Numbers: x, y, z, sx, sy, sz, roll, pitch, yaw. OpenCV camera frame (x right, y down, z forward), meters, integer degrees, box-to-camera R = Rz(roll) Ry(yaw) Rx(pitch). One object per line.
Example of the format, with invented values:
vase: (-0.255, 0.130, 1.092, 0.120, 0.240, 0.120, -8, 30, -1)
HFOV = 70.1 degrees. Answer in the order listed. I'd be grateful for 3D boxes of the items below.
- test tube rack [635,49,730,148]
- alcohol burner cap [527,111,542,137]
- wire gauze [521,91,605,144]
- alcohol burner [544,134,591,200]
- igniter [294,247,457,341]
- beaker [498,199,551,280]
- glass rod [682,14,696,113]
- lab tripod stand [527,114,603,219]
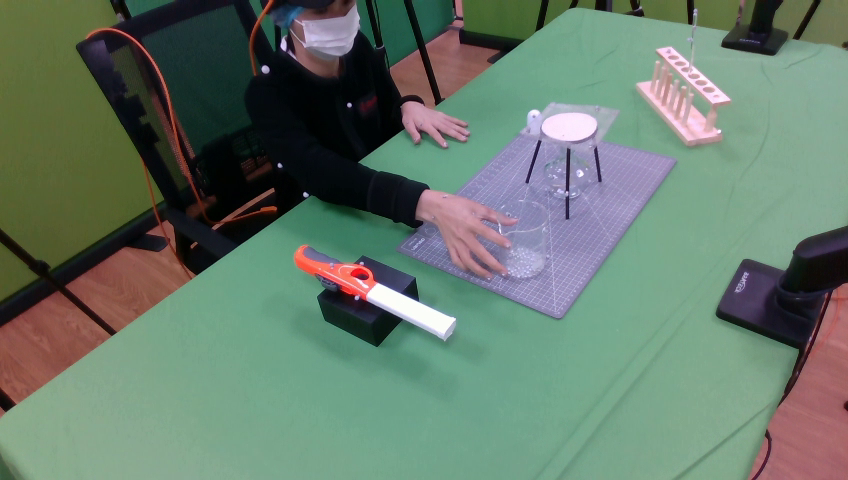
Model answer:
test tube rack: (0.497, -0.283, 1.185, 0.067, 0.085, 0.240, -10, 40, -2)
alcohol burner cap: (0.220, -0.233, 1.200, 0.034, 0.048, 0.033, -6, 41, 5)
wire gauze: (0.219, -0.191, 0.948, 0.121, 0.011, 0.125, 8, 49, 13)
alcohol burner: (0.241, -0.127, 1.014, 0.078, 0.119, 0.077, -5, 42, 5)
igniter: (-0.077, 0.068, 0.831, 0.274, 0.025, 0.057, 22, 48, 27)
beaker: (0.144, 0.003, 0.884, 0.073, 0.101, 0.084, 28, 52, 36)
glass rod: (0.495, -0.326, 1.132, 0.008, 0.201, 0.008, -8, 42, 8)
lab tripod stand: (0.234, -0.129, 1.002, 0.148, 0.132, 0.147, -6, 40, 6)
